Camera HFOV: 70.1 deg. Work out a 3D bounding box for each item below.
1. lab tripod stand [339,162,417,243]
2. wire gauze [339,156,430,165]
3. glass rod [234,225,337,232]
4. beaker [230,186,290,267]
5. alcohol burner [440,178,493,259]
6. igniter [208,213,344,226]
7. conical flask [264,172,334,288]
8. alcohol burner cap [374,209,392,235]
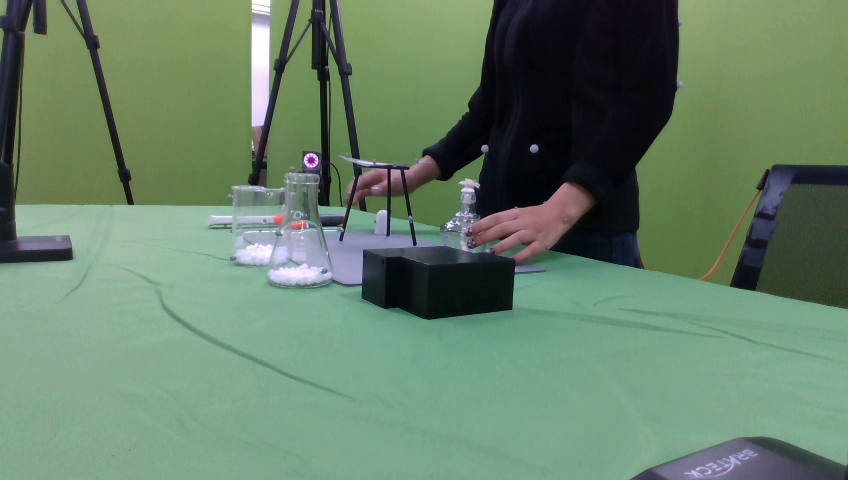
[{"bbox_3d":[-0.067,-0.065,1.027,0.148,0.131,0.148,4,7,0],"label":"lab tripod stand"},{"bbox_3d":[-0.067,-0.132,1.022,0.122,0.011,0.124,-1,9,-31],"label":"wire gauze"},{"bbox_3d":[-0.256,-0.023,1.136,0.201,0.008,0.008,-3,9,-33],"label":"glass rod"},{"bbox_3d":[-0.209,-0.019,0.778,0.074,0.100,0.084,3,6,4],"label":"beaker"},{"bbox_3d":[0.063,-0.032,0.887,0.078,0.119,0.078,4,5,0],"label":"alcohol burner"},{"bbox_3d":[-0.283,-0.041,1.200,0.278,0.025,0.057,-2,-2,-34],"label":"igniter"},{"bbox_3d":[-0.135,-0.013,0.660,0.075,0.122,0.075,2,7,0],"label":"conical flask"},{"bbox_3d":[-0.078,-0.035,1.149,0.034,0.048,0.034,3,9,0],"label":"alcohol burner cap"}]
